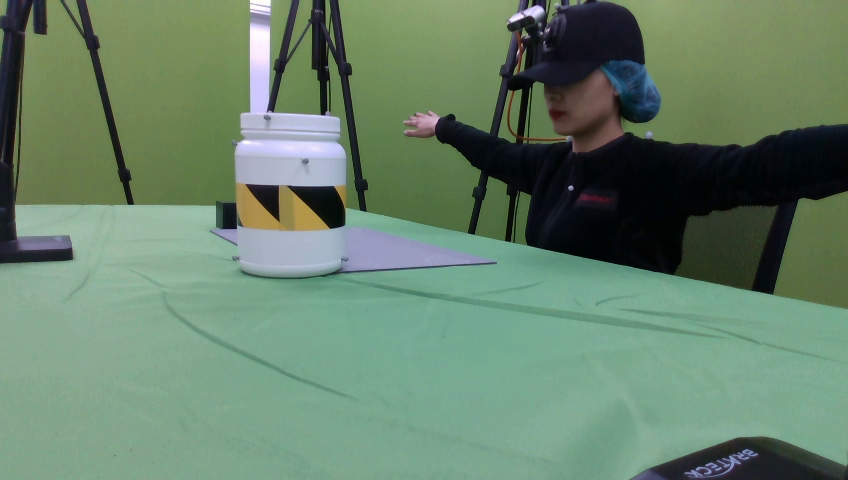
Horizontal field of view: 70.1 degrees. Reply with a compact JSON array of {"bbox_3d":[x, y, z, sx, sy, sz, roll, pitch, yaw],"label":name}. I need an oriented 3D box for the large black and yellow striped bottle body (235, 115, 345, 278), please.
[{"bbox_3d":[-0.160,-0.055,0.732,0.131,0.184,0.130,2,9,0],"label":"large black and yellow striped bottle body"}]

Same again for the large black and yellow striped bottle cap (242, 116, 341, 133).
[{"bbox_3d":[-0.157,-0.137,0.718,0.115,0.019,0.115,1,10,0],"label":"large black and yellow striped bottle cap"}]
